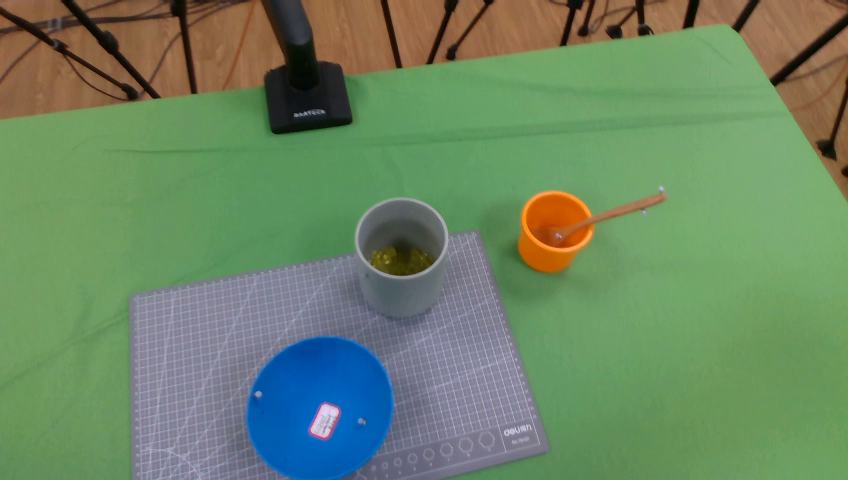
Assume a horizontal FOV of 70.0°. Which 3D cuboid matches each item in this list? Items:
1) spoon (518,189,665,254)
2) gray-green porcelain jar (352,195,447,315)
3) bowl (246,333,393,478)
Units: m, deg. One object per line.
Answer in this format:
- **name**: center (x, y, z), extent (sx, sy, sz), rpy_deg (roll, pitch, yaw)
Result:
- **spoon**: center (0.202, -0.024, 0.749), extent (0.022, 0.193, 0.041), rpy_deg (26, 52, -40)
- **gray-green porcelain jar**: center (-0.029, 0.024, 0.720), extent (0.106, 0.127, 0.105), rpy_deg (1, 61, -2)
- **bowl**: center (-0.108, 0.184, 0.655), extent (0.151, 0.077, 0.150), rpy_deg (2, 61, -2)
